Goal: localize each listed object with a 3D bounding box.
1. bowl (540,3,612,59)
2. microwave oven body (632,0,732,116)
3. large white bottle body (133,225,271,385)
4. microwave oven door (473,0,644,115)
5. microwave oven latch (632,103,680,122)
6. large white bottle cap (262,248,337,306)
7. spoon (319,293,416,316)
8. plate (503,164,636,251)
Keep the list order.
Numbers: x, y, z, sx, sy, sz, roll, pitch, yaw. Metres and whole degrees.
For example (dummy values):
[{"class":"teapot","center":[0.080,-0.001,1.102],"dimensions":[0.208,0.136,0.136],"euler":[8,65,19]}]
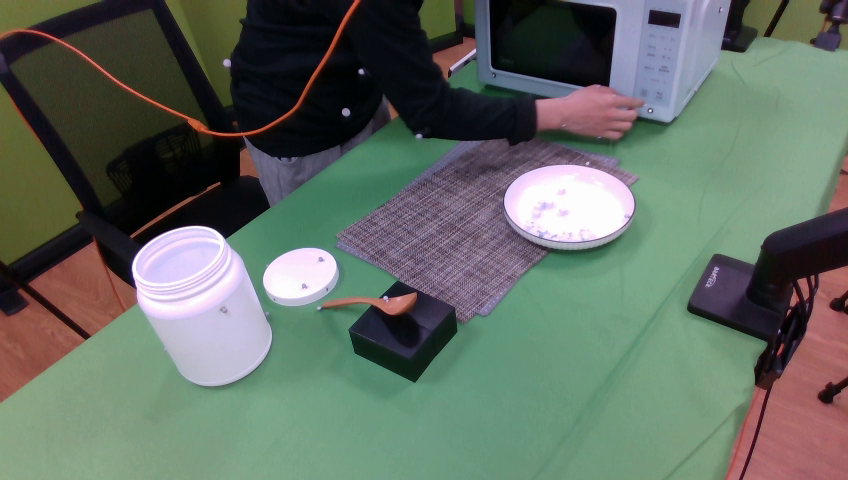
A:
[{"class":"bowl","center":[0.323,-0.441,1.298],"dimensions":[0.151,0.077,0.150],"euler":[-4,42,4]},{"class":"microwave oven body","center":[0.377,-0.463,1.267],"dimensions":[0.438,0.261,0.327],"euler":[21,49,30]},{"class":"large white bottle body","center":[-0.285,0.084,0.784],"dimensions":[0.130,0.185,0.130],"euler":[-4,41,4]},{"class":"microwave oven door","center":[0.257,-0.396,1.199],"dimensions":[0.353,0.245,0.039],"euler":[21,48,29]},{"class":"microwave oven latch","center":[0.443,-0.249,1.158],"dimensions":[0.078,0.029,0.030],"euler":[20,48,29]},{"class":"large white bottle cap","center":[-0.193,0.056,0.934],"dimensions":[0.115,0.018,0.114],"euler":[-5,41,4]},{"class":"spoon","center":[-0.082,0.086,0.826],"dimensions":[0.192,0.022,0.041],"euler":[-3,37,41]},{"class":"plate","center":[0.232,-0.051,0.977],"dimensions":[0.209,0.038,0.208],"euler":[-3,41,3]}]
